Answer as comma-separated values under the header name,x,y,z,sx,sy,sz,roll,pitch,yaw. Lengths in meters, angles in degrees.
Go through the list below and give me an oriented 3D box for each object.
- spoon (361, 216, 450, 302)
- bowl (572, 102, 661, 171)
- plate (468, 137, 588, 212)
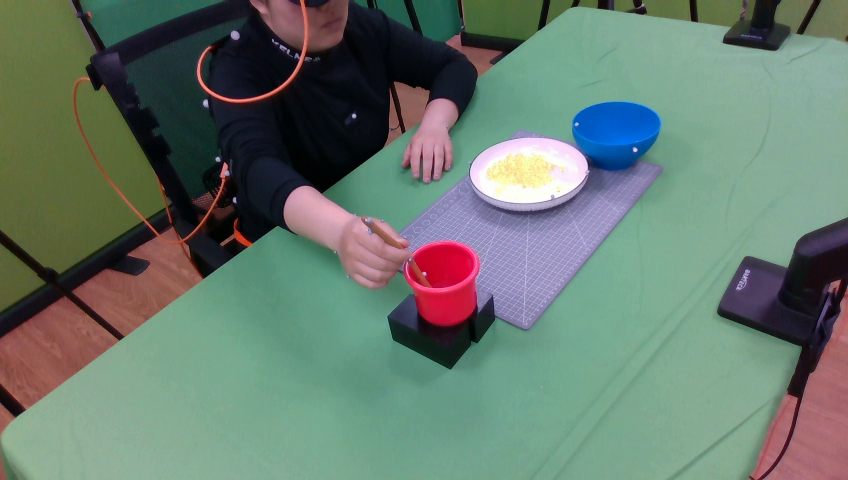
name,x,y,z,sx,sy,sz,roll,pitch,yaw
spoon,-0.021,0.025,0.745,0.021,0.195,0.041,-46,42,-9
bowl,0.340,-0.177,1.079,0.151,0.077,0.150,-5,40,5
plate,0.182,-0.112,1.064,0.207,0.039,0.206,-5,40,5
